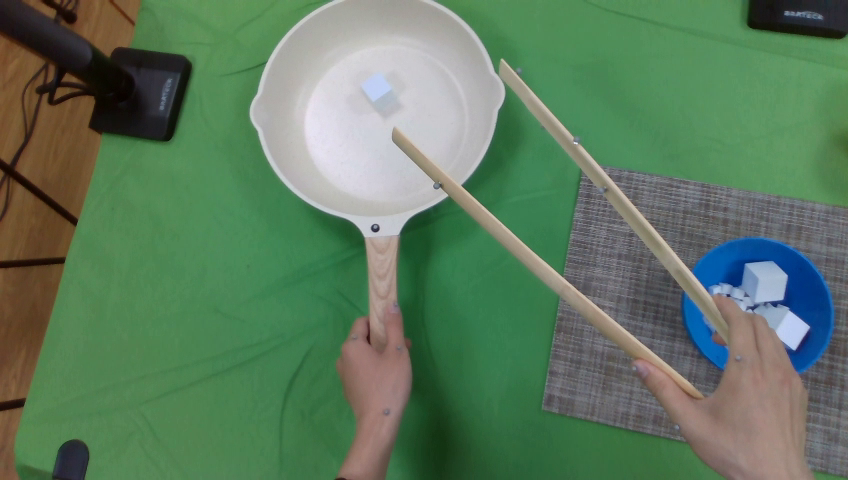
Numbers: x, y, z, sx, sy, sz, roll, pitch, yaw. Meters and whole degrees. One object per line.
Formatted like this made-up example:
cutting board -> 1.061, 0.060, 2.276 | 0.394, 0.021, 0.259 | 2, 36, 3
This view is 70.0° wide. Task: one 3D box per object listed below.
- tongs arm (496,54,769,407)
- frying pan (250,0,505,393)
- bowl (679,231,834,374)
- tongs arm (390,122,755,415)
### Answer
tongs arm -> 0.166, -0.024, 0.542 | 0.051, 0.027, 0.382 | -33, 72, -15
frying pan -> -0.052, -0.068, 0.715 | 0.306, 0.103, 0.484 | -3, 71, 6
bowl -> 0.347, 0.071, 0.661 | 0.151, 0.077, 0.150 | -1, 79, 5
tongs arm -> 0.109, 0.017, 0.524 | 0.385, 0.028, 0.028 | 42, 68, 15
